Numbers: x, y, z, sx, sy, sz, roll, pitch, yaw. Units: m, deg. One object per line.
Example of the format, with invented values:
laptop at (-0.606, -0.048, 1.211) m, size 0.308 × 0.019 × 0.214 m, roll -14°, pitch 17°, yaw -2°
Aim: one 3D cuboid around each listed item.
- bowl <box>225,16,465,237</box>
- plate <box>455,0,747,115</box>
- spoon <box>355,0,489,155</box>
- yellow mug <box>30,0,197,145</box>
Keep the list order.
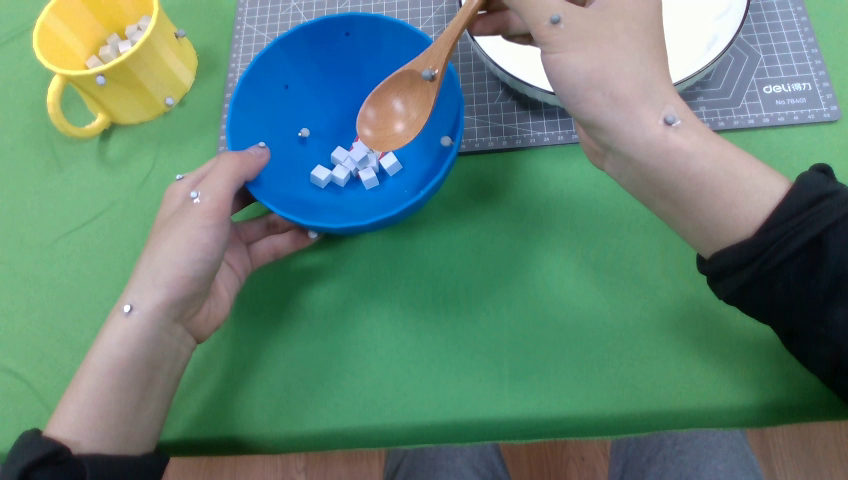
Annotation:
bowl at (-0.046, -0.064, 0.410) m, size 0.151 × 0.077 × 0.150 m, roll -1°, pitch 72°, yaw 4°
plate at (0.128, -0.178, 0.457) m, size 0.209 × 0.038 × 0.207 m, roll -3°, pitch 67°, yaw 6°
spoon at (0.025, -0.122, 0.331) m, size 0.041 × 0.022 × 0.194 m, roll 50°, pitch 117°, yaw 15°
yellow mug at (-0.250, -0.134, 0.477) m, size 0.099 × 0.064 × 0.130 m, roll 18°, pitch 71°, yaw 15°
